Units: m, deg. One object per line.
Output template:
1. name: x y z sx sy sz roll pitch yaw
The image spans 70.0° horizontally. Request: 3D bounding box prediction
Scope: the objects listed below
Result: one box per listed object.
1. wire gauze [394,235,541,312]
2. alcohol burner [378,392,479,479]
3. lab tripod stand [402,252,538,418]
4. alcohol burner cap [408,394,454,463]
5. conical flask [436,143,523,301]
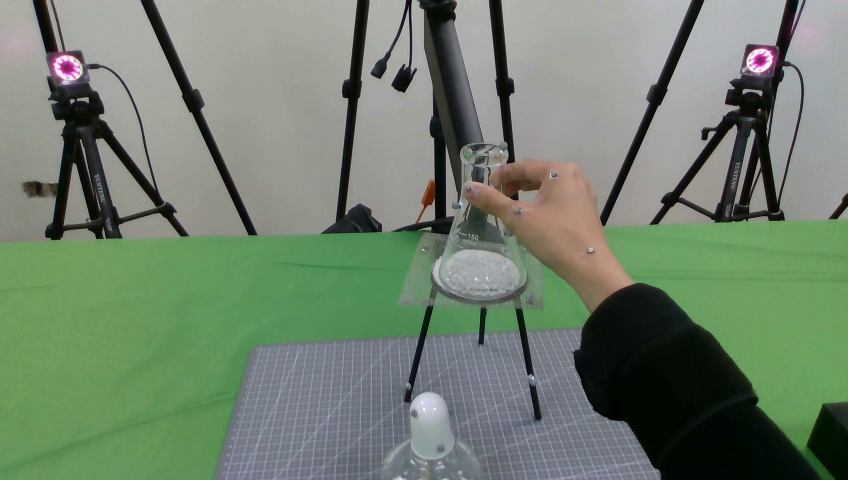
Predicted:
1. wire gauze: 0.045 0.030 0.548 0.121 0.011 0.124 5 28 8
2. alcohol burner: 0.003 0.164 0.455 0.078 0.120 0.077 0 26 1
3. lab tripod stand: 0.052 0.089 0.579 0.148 0.132 0.147 2 27 -1
4. alcohol burner cap: 0.004 0.133 0.437 0.034 0.048 0.033 -5 31 3
5. conical flask: 0.047 -0.017 0.502 0.075 0.123 0.075 -1 26 1
